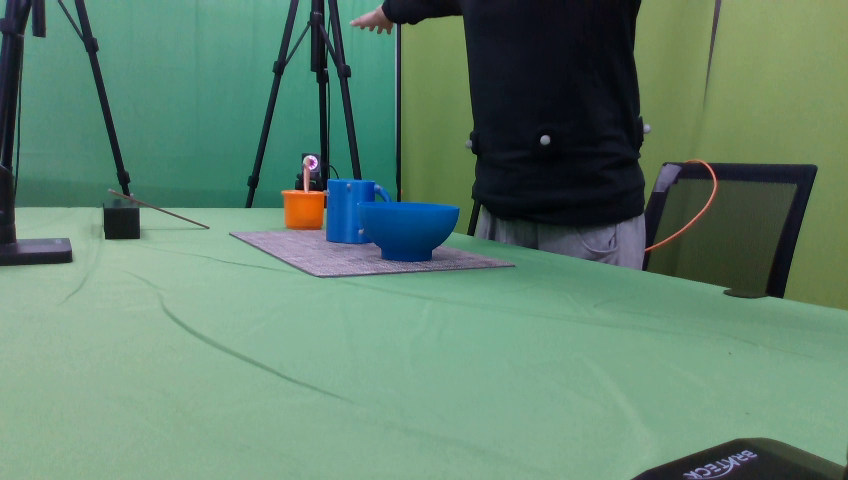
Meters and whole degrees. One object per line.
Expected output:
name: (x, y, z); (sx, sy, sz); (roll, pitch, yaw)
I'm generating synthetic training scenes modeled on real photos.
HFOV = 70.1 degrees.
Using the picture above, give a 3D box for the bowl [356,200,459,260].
bowl: (-0.025, -0.015, 0.877); (0.151, 0.077, 0.151); (2, 7, 0)

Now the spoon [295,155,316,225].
spoon: (-0.247, -0.108, 1.261); (0.042, 0.021, 0.193); (5, 46, -16)

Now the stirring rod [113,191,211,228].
stirring rod: (-0.484, -0.055, 1.121); (0.177, 0.006, 0.014); (22, -6, -22)

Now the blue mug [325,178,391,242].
blue mug: (-0.111, -0.052, 1.034); (0.116, 0.106, 0.082); (3, 7, 7)
